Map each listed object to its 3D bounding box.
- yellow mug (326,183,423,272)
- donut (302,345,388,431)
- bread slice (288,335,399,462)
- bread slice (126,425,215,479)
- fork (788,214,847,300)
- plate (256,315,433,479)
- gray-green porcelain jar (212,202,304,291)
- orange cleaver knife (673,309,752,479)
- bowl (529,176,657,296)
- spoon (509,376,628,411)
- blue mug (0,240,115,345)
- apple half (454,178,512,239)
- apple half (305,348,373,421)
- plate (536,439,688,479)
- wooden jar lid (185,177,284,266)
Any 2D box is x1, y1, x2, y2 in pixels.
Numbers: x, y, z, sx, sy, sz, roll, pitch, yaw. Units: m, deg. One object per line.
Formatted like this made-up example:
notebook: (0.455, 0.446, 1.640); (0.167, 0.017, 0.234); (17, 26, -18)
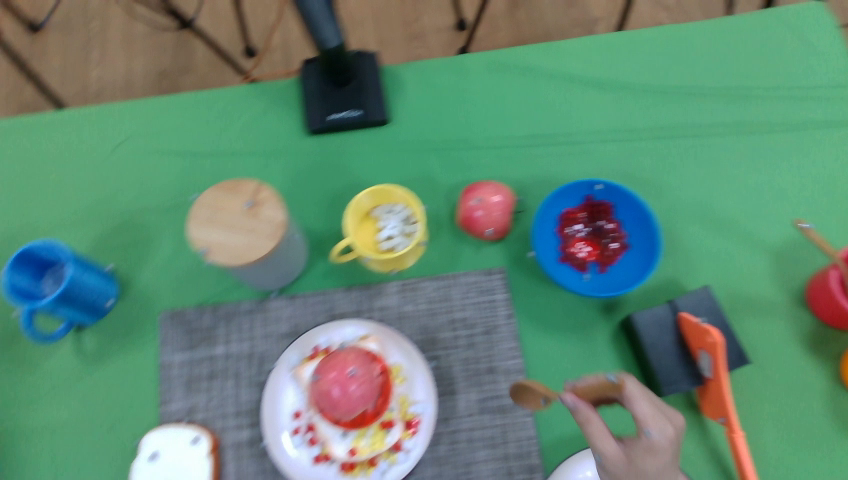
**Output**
yellow mug: (-0.066, -0.007, 0.775); (0.131, 0.064, 0.099); (-29, 73, -7)
donut: (-0.090, 0.170, 0.698); (0.099, 0.048, 0.098); (-1, 72, 2)
bread slice: (-0.087, 0.192, 0.720); (0.107, 0.018, 0.133); (-25, 74, -6)
bread slice: (-0.300, 0.285, 0.708); (0.105, 0.019, 0.130); (0, 73, 1)
fork: (0.473, 0.026, 0.703); (0.209, 0.018, 0.028); (35, 70, -31)
plate: (-0.092, 0.195, 0.719); (0.207, 0.039, 0.206); (-1, 72, 2)
gray-green porcelain jar: (-0.209, 0.002, 0.745); (0.106, 0.127, 0.105); (-1, 71, 2)
orange cleaver knife: (0.327, 0.181, 0.691); (0.012, 0.077, 0.211); (-18, 93, -11)
bowl: (0.202, 0.005, 0.755); (0.151, 0.077, 0.150); (-1, 72, 2)
spoon: (0.122, 0.135, 0.529); (0.041, 0.194, 0.021); (39, 70, -1)
blue mug: (-0.451, 0.071, 0.740); (0.082, 0.106, 0.116); (12, 72, 6)
apple half: (0.077, -0.047, 0.790); (0.074, 0.054, 0.080); (13, 73, 9)
apple half: (-0.095, 0.158, 0.664); (0.081, 0.033, 0.081); (-3, 70, 8)
plate: (0.209, 0.328, 0.669); (0.209, 0.038, 0.207); (0, 72, 2)
wooden jar lid: (-0.212, -0.019, 0.684); (0.108, 0.021, 0.107); (0, 69, 0)
